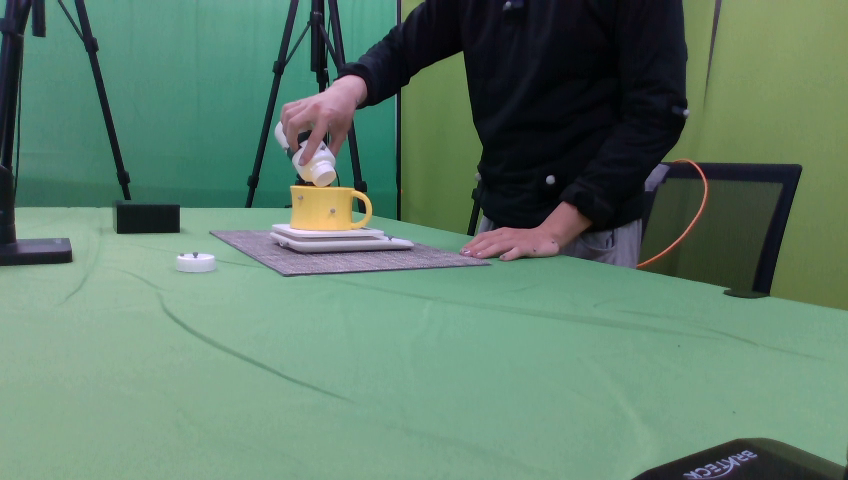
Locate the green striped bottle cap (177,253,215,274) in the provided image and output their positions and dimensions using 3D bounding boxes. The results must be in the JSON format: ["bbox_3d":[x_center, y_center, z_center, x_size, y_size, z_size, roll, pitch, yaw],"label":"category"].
[{"bbox_3d":[-0.279,0.028,0.741,0.044,0.020,0.044,5,6,0],"label":"green striped bottle cap"}]

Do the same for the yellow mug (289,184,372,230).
[{"bbox_3d":[-0.145,-0.052,0.944,0.131,0.064,0.100,4,7,9],"label":"yellow mug"}]

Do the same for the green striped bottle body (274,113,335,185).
[{"bbox_3d":[-0.191,-0.144,0.985,0.063,0.063,0.119,-7,55,-51],"label":"green striped bottle body"}]

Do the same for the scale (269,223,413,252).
[{"bbox_3d":[-0.132,-0.007,0.965,0.202,0.031,0.148,-2,8,-31],"label":"scale"}]
